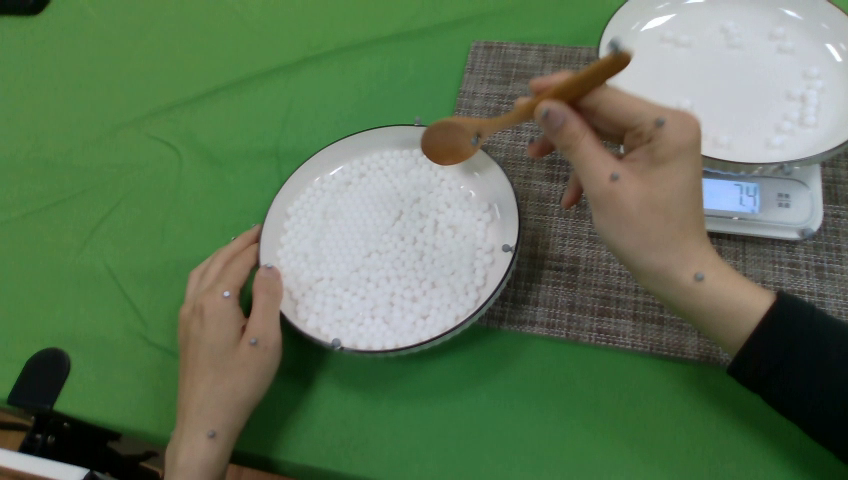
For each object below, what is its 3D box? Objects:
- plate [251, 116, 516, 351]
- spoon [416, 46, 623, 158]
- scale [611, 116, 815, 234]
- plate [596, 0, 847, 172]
[{"bbox_3d":[-0.031,-0.007,0.481,0.209,0.038,0.207,-4,60,7],"label":"plate"},{"bbox_3d":[0.053,-0.085,0.400,0.042,0.193,0.021,40,68,-22],"label":"spoon"},{"bbox_3d":[0.237,-0.101,0.500,0.148,0.032,0.199,7,62,12],"label":"scale"},{"bbox_3d":[0.241,-0.135,0.481,0.207,0.039,0.206,-3,60,6],"label":"plate"}]
